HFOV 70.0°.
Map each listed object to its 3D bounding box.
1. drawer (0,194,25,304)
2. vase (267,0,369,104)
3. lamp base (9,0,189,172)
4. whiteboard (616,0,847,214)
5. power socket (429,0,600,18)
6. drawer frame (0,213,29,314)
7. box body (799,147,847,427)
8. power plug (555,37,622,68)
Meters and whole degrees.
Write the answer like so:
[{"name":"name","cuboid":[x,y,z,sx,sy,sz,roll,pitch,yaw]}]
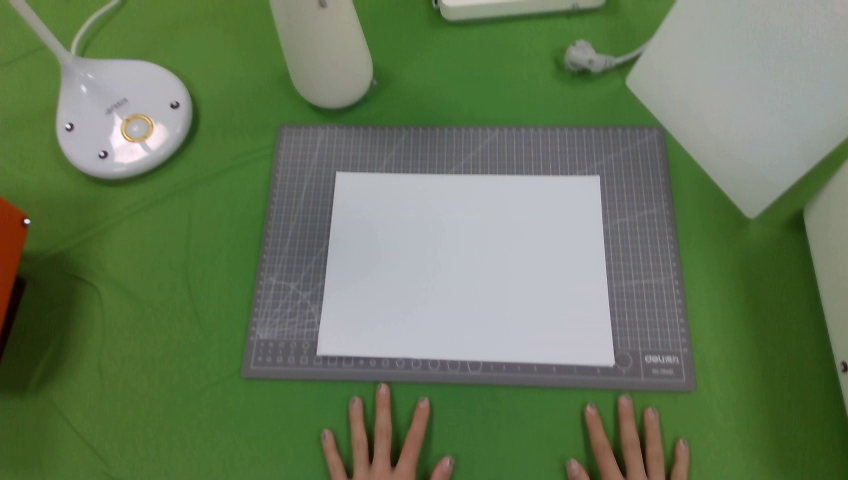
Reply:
[{"name":"drawer","cuboid":[-0.519,0.046,0.572,0.212,0.074,0.193,-1,69,2]},{"name":"vase","cuboid":[-0.119,-0.236,0.653,0.098,0.201,0.097,-1,67,4]},{"name":"lamp base","cuboid":[-0.375,-0.188,0.654,0.178,0.181,0.160,32,72,18]},{"name":"whiteboard","cuboid":[0.379,-0.212,0.597,0.144,0.307,0.215,-22,67,-27]},{"name":"power socket","cuboid":[0.119,-0.325,0.768,0.227,0.033,0.071,-4,69,0]},{"name":"drawer frame","cuboid":[-0.525,0.049,0.575,0.213,0.083,0.200,0,69,1]},{"name":"box body","cuboid":[0.509,0.078,0.519,0.254,0.161,0.361,0,68,2]},{"name":"power plug","cuboid":[0.195,-0.222,0.733,0.073,0.035,0.052,6,32,-37]}]
